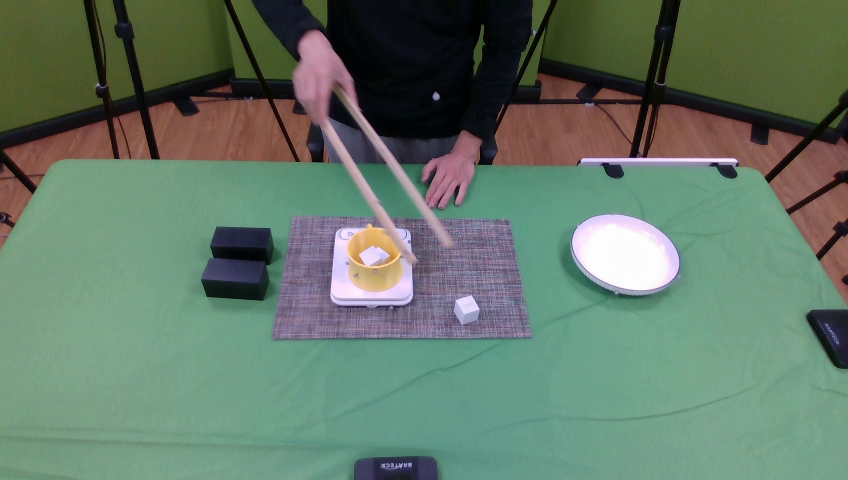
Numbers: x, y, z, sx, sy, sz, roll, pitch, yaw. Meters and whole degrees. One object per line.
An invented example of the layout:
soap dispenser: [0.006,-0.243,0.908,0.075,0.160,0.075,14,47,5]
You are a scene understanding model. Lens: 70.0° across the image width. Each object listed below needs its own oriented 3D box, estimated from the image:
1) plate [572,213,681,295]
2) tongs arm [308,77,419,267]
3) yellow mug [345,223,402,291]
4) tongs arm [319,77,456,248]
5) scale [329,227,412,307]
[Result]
plate: [0.392,0.030,1.189,0.208,0.039,0.206,2,46,-2]
tongs arm: [-0.103,-0.123,1.041,0.051,0.026,0.383,-28,76,-29]
yellow mug: [-0.092,0.022,1.093,0.100,0.064,0.130,-8,46,-10]
tongs arm: [-0.065,-0.141,1.066,0.028,0.028,0.386,-32,79,-27]
scale: [-0.099,0.042,1.139,0.149,0.032,0.199,1,46,-4]
